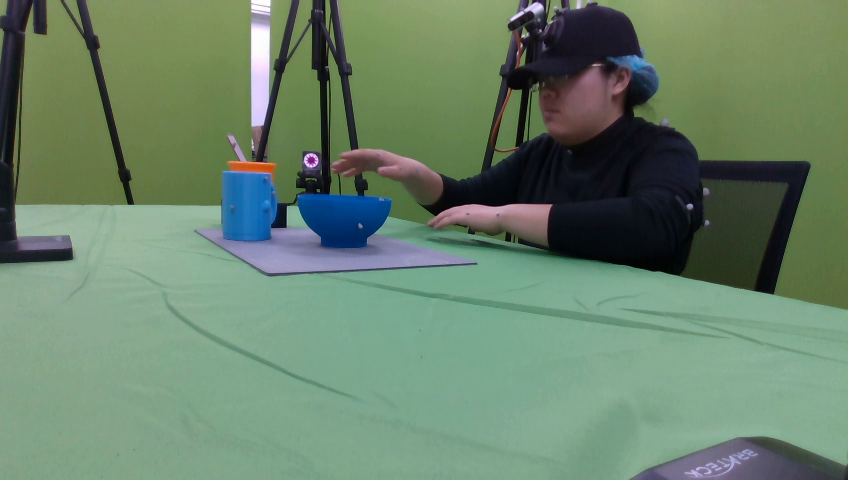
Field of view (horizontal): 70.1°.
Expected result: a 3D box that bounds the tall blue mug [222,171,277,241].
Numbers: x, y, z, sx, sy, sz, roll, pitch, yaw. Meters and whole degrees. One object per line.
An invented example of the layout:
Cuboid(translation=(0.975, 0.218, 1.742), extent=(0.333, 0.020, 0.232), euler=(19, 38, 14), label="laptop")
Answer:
Cuboid(translation=(-0.290, -0.059, 1.003), extent=(0.078, 0.108, 0.107), euler=(1, 7, -6), label="tall blue mug")

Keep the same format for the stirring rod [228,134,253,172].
Cuboid(translation=(-0.353, -0.148, 1.197), extent=(0.014, 0.006, 0.175), euler=(-3, 51, -46), label="stirring rod")

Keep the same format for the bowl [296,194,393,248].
Cuboid(translation=(-0.128, -0.030, 0.964), extent=(0.151, 0.077, 0.151), euler=(2, 7, 0), label="bowl")
